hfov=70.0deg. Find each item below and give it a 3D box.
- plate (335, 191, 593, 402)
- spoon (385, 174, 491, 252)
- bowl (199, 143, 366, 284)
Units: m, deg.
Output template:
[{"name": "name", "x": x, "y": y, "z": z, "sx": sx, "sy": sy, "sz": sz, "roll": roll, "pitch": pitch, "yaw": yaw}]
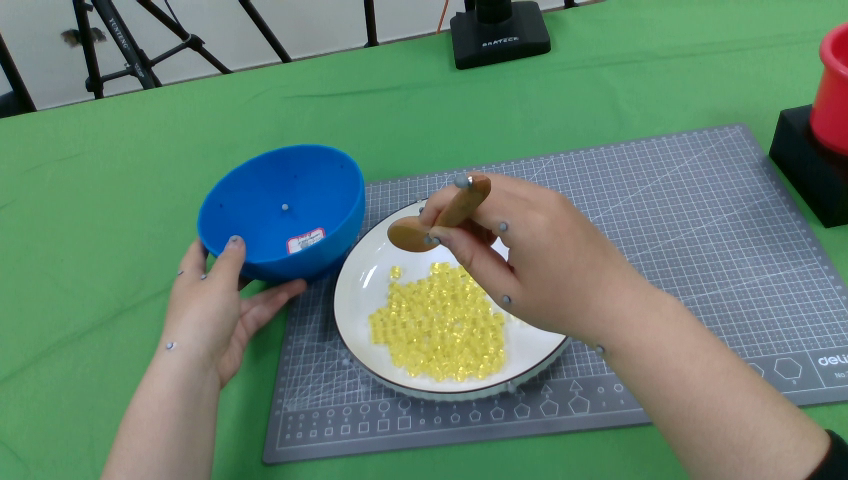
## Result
[{"name": "plate", "x": 0.032, "y": 0.043, "z": 0.500, "sx": 0.207, "sy": 0.039, "sz": 0.205, "roll": -7, "pitch": 47, "yaw": 8}, {"name": "spoon", "x": 0.008, "y": -0.010, "z": 0.363, "sx": 0.042, "sy": 0.193, "sz": 0.021, "roll": 14, "pitch": 82, "yaw": -10}, {"name": "bowl", "x": -0.119, "y": -0.012, "z": 0.560, "sx": 0.151, "sy": 0.077, "sz": 0.150, "roll": -7, "pitch": 47, "yaw": 8}]
